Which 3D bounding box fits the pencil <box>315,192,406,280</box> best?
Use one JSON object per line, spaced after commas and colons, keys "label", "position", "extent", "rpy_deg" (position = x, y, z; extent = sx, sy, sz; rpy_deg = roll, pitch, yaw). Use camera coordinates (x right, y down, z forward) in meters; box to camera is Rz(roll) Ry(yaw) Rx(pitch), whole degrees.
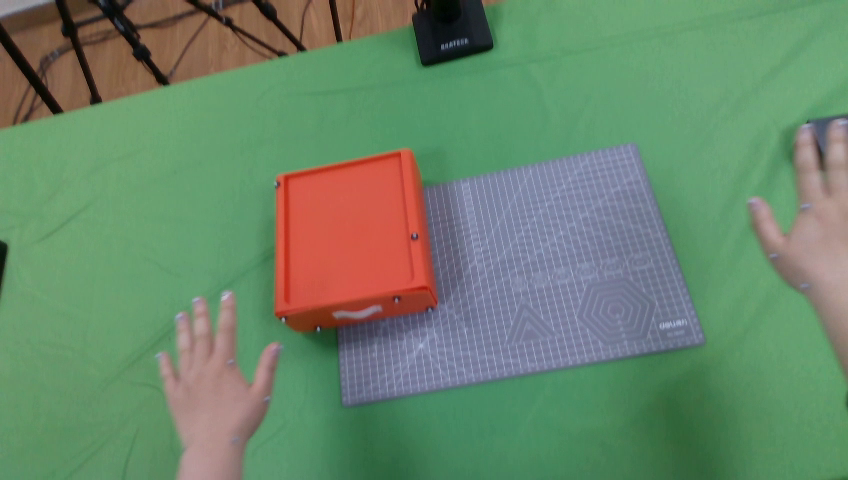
{"label": "pencil", "position": [-0.089, -0.007, 0.844], "extent": [0.012, 0.012, 0.192], "rpy_deg": [-43, 67, -10]}

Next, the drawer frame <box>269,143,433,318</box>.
{"label": "drawer frame", "position": [-0.102, -0.004, 0.816], "extent": [0.201, 0.083, 0.211], "rpy_deg": [-12, 63, 7]}

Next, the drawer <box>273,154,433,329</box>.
{"label": "drawer", "position": [-0.099, 0.001, 0.815], "extent": [0.194, 0.074, 0.210], "rpy_deg": [-11, 62, 7]}
